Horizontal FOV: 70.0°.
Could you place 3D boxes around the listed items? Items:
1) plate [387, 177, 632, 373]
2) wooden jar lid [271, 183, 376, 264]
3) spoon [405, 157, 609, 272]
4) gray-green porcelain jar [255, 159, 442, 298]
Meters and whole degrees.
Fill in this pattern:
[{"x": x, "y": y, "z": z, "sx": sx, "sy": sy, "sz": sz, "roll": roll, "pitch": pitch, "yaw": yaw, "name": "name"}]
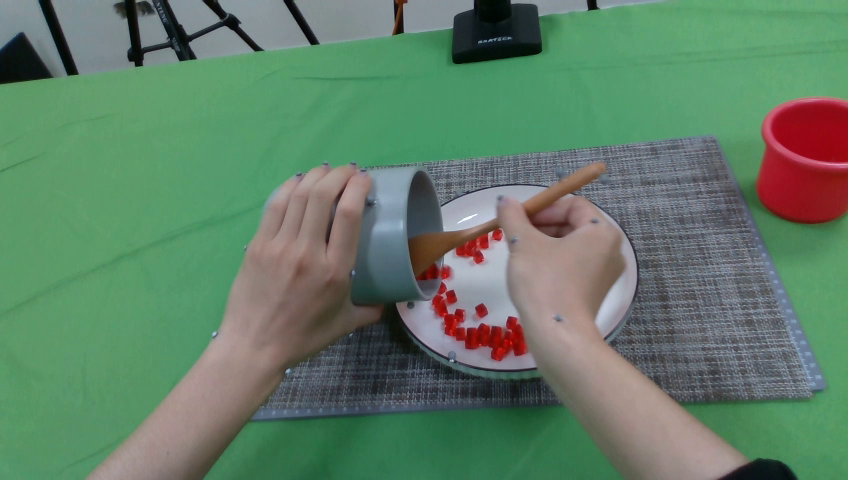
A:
[{"x": 0.071, "y": 0.028, "z": 0.525, "sx": 0.207, "sy": 0.039, "sz": 0.205, "roll": -6, "pitch": 47, "yaw": 7, "name": "plate"}, {"x": -0.101, "y": -0.016, "z": 0.616, "sx": 0.108, "sy": 0.021, "sz": 0.107, "roll": -5, "pitch": 46, "yaw": 6, "name": "wooden jar lid"}, {"x": 0.049, "y": -0.018, "z": 0.457, "sx": 0.193, "sy": 0.022, "sz": 0.041, "roll": -23, "pitch": 46, "yaw": 27, "name": "spoon"}, {"x": -0.060, "y": -0.007, "z": 0.483, "sx": 0.126, "sy": 0.107, "sz": 0.105, "roll": -3, "pitch": 47, "yaw": 16, "name": "gray-green porcelain jar"}]
